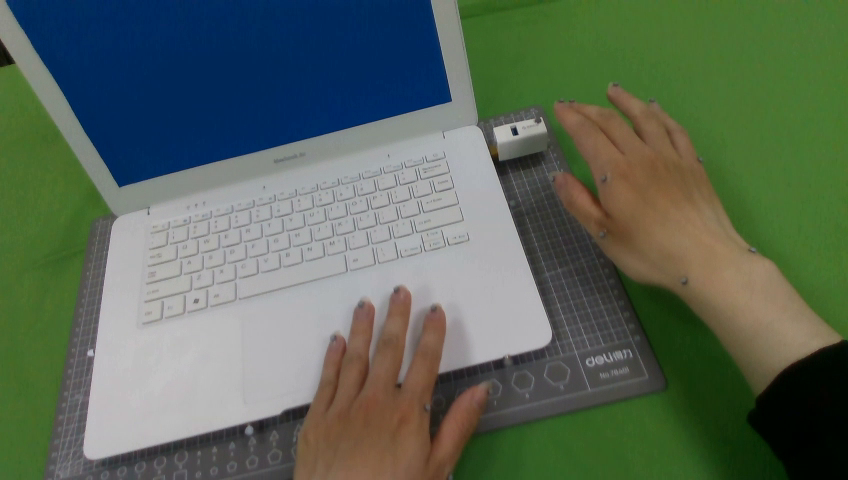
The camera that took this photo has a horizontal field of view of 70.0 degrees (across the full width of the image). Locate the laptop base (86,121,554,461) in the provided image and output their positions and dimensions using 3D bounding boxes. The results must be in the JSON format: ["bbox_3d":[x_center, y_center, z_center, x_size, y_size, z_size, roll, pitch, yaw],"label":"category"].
[{"bbox_3d":[-0.096,0.028,0.503,0.354,0.023,0.233,-15,57,1],"label":"laptop base"}]

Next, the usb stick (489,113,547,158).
[{"bbox_3d":[0.078,-0.090,0.535,0.059,0.027,0.021,-15,53,6],"label":"usb stick"}]

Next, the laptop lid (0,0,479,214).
[{"bbox_3d":[-0.143,-0.156,0.502,0.357,0.244,0.013,-16,36,2],"label":"laptop lid"}]
